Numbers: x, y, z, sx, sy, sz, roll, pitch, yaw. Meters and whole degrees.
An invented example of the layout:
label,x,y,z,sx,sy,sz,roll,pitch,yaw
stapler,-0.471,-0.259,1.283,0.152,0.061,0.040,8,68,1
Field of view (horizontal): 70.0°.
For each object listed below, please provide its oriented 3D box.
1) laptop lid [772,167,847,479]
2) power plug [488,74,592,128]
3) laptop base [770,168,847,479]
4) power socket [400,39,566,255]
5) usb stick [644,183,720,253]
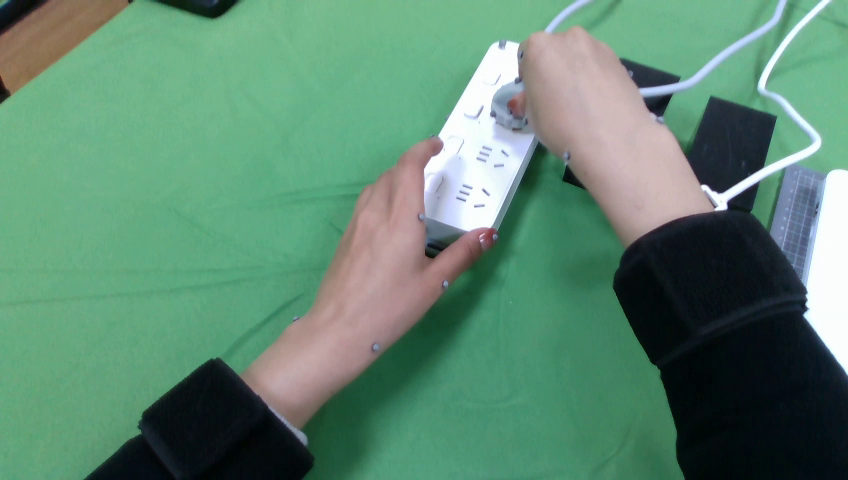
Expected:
label,x,y,z,sx,sy,sz,roll,pitch,yaw
laptop lid,0.407,0.093,0.358,0.355,0.013,0.240,23,62,15
power plug,0.083,-0.096,0.459,0.072,0.053,0.035,32,68,15
laptop base,0.409,0.098,0.369,0.353,0.023,0.234,22,62,14
power socket,0.053,-0.084,0.485,0.072,0.033,0.225,21,58,13
usb stick,0.165,-0.011,0.397,0.027,0.059,0.021,-28,70,-19
